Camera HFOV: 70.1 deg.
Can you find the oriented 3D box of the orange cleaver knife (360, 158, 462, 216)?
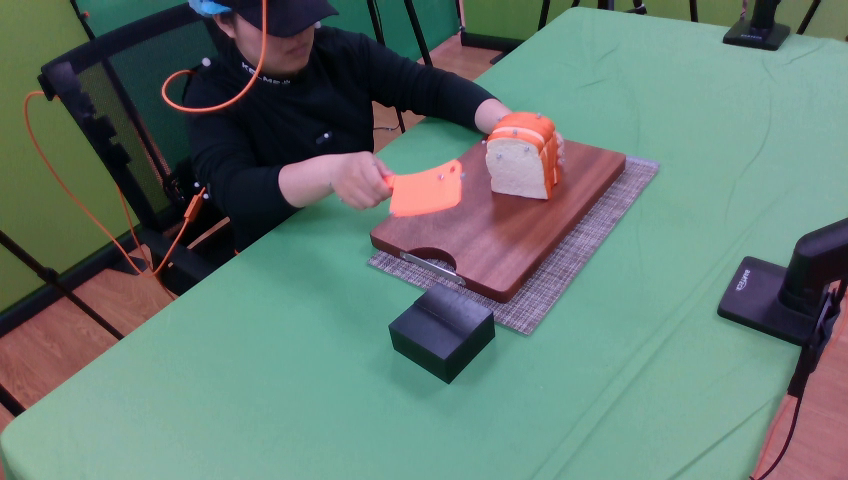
[{"bbox_3d":[-0.023,-0.069,0.843,0.209,0.012,0.077,-1,71,45],"label":"orange cleaver knife"}]

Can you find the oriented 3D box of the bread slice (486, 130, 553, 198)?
[{"bbox_3d":[0.149,-0.120,0.974,0.104,0.132,0.019,9,52,25],"label":"bread slice"}]

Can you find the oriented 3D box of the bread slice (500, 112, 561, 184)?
[{"bbox_3d":[0.175,-0.151,1.005,0.106,0.135,0.018,13,50,21],"label":"bread slice"}]
